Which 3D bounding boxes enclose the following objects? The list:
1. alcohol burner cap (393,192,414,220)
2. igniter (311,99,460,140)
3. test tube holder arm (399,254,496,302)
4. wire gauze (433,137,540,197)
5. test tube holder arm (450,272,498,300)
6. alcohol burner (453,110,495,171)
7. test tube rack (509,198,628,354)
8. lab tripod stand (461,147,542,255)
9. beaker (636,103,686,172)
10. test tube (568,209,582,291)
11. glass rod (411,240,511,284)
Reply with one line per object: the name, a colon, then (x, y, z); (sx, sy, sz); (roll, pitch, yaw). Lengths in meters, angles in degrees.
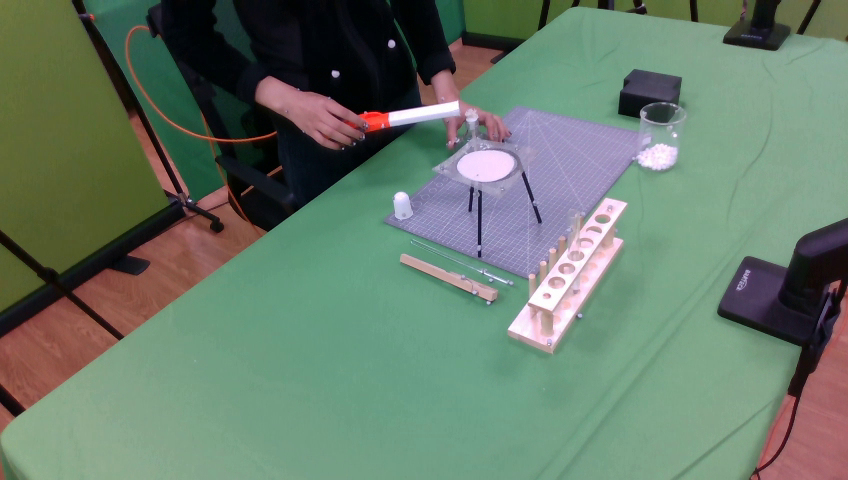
alcohol burner cap: (-0.038, -0.061, 1.043); (0.034, 0.048, 0.033); (-6, 41, 5)
igniter: (-0.072, -0.216, 1.090); (0.276, 0.025, 0.057); (-8, 43, 8)
test tube holder arm: (0.032, 0.055, 0.914); (0.177, 0.015, 0.013); (21, 15, 32)
wire gauze: (0.094, -0.116, 0.907); (0.124, 0.011, 0.122); (21, 47, 30)
test tube holder arm: (0.071, 0.068, 0.895); (0.087, 0.015, 0.010); (21, 15, 32)
alcohol burner: (0.091, -0.187, 1.112); (0.078, 0.119, 0.077); (-4, 41, 4)
test tube rack: (0.206, 0.039, 0.850); (0.066, 0.085, 0.243); (20, 48, 31)
lab tripod stand: (0.114, -0.069, 0.953); (0.148, 0.132, 0.147); (-5, 38, 4)
beaker: (0.413, -0.177, 1.055); (0.084, 0.101, 0.073); (-28, 44, -21)
test tube: (0.200, 0.017, 0.799); (0.017, 0.151, 0.017); (-8, 45, 8)
glass rod: (0.053, 0.033, 0.946); (0.198, 0.008, 0.008); (22, 50, 36)
